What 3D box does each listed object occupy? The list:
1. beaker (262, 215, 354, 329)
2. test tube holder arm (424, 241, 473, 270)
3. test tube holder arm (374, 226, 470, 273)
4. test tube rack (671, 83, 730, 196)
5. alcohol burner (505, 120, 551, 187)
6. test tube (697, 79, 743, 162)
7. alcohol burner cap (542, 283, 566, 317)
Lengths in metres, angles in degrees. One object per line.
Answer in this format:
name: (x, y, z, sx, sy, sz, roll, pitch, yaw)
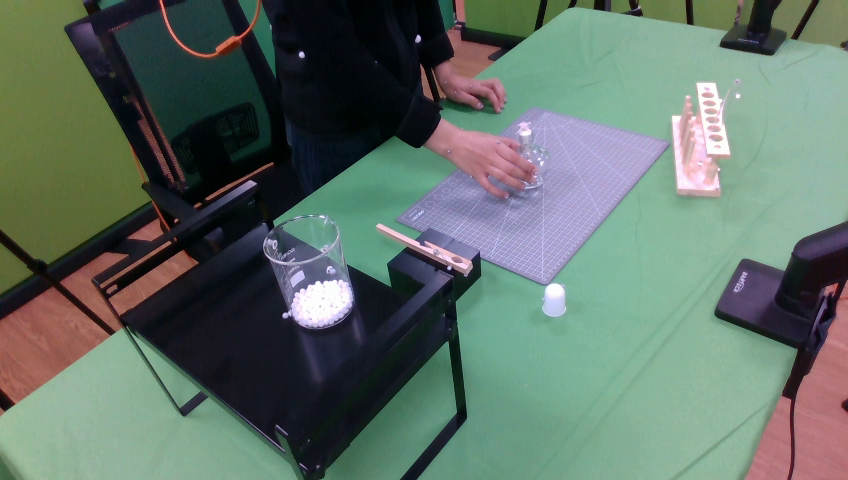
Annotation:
beaker: (-0.112, 0.034, 0.616, 0.073, 0.101, 0.084, 13, 44, 23)
test tube holder arm: (0.032, 0.023, 0.872, 0.087, 0.015, 0.010, 22, 49, 32)
test tube holder arm: (-0.007, 0.012, 0.893, 0.177, 0.015, 0.013, 21, 48, 31)
test tube rack: (0.482, -0.184, 1.067, 0.066, 0.085, 0.242, 5, 42, 15)
alcohol burner: (0.175, -0.150, 1.024, 0.078, 0.120, 0.077, -8, 42, 8)
test tube: (0.486, -0.194, 0.998, 0.017, 0.150, 0.017, 5, 40, -4)
alcohol burner cap: (0.181, 0.080, 0.839, 0.034, 0.048, 0.033, -4, 40, 4)
